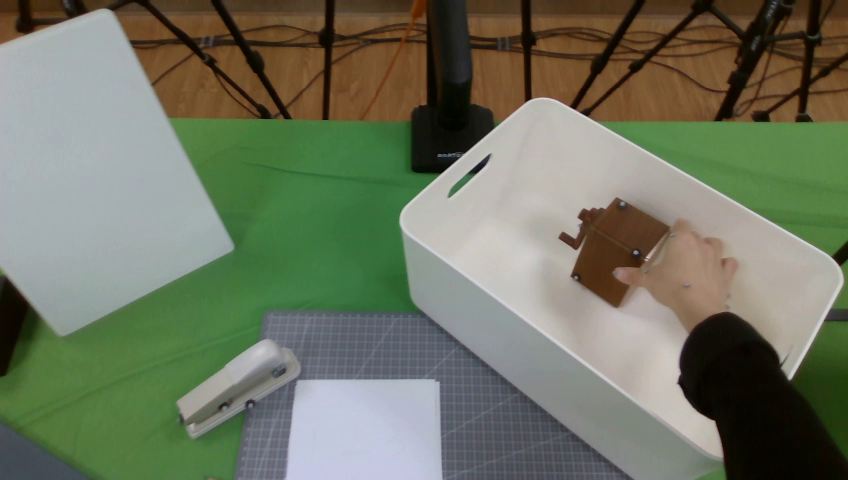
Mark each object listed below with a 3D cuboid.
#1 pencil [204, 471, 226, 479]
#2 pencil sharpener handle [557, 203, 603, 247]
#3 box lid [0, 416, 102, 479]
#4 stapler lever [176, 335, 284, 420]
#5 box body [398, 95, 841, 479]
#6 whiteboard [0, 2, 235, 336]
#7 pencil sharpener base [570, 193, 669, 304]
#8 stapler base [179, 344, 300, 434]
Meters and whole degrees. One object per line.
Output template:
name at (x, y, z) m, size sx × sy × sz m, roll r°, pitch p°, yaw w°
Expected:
pencil at (-0.135, 0.268, 0.578) m, size 0.193 × 0.012 × 0.012 m, roll 24°, pitch 59°, yaw 16°
pencil sharpener handle at (0.177, -0.022, 0.700) m, size 0.030 × 0.068 × 0.036 m, roll 36°, pitch 45°, yaw 22°
box lid at (-0.479, 0.339, 0.526) m, size 0.262 × 0.015 × 0.370 m, roll 24°, pitch 59°, yaw 14°
stapler lever at (-0.200, 0.139, 0.625) m, size 0.118 × 0.040 × 0.026 m, roll -30°, pitch 58°, yaw -16°
box body at (0.182, 0.044, 0.644) m, size 0.361 × 0.162 × 0.254 m, roll 36°, pitch 62°, yaw 21°
whiteboard at (-0.386, -0.088, 0.672) m, size 0.217 × 0.308 × 0.142 m, roll -29°, pitch 42°, yaw -18°
pencil sharpener base at (0.218, 0.010, 0.694) m, size 0.076 × 0.108 × 0.061 m, roll 36°, pitch 61°, yaw 22°
stapler base at (-0.198, 0.152, 0.646) m, size 0.130 × 0.024 × 0.041 m, roll -31°, pitch 58°, yaw -16°
